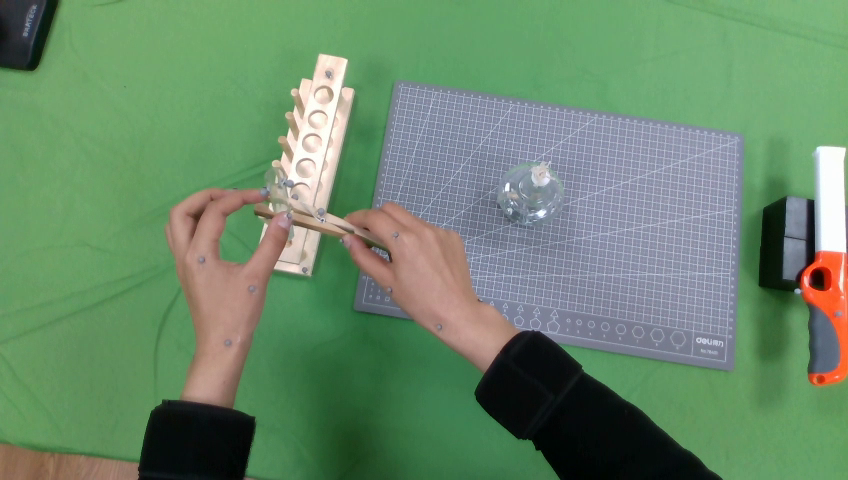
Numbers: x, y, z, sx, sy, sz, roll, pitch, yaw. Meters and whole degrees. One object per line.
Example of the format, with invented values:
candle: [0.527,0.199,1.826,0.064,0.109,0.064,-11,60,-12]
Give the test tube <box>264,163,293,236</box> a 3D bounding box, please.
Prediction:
test tube: [-0.129,-0.032,0.542,0.017,0.150,0.017,3,72,-8]

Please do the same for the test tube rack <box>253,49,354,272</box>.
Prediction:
test tube rack: [-0.143,-0.093,0.702,0.067,0.085,0.241,11,78,1]

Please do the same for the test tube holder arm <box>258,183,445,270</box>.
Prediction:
test tube holder arm: [-0.064,-0.011,0.546,0.179,0.015,0.013,22,74,-4]

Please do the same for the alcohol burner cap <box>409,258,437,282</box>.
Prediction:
alcohol burner cap: [-0.001,0.029,0.700,0.034,0.048,0.033,1,78,-2]

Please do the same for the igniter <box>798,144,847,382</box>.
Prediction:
igniter: [0.453,0.022,0.682,0.057,0.025,0.275,6,77,11]

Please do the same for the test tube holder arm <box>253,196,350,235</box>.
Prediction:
test tube holder arm: [-0.108,-0.021,0.541,0.088,0.015,0.010,16,74,-5]

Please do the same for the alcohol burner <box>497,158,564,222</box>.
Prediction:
alcohol burner: [0.123,-0.062,0.688,0.078,0.119,0.077,0,79,-1]
